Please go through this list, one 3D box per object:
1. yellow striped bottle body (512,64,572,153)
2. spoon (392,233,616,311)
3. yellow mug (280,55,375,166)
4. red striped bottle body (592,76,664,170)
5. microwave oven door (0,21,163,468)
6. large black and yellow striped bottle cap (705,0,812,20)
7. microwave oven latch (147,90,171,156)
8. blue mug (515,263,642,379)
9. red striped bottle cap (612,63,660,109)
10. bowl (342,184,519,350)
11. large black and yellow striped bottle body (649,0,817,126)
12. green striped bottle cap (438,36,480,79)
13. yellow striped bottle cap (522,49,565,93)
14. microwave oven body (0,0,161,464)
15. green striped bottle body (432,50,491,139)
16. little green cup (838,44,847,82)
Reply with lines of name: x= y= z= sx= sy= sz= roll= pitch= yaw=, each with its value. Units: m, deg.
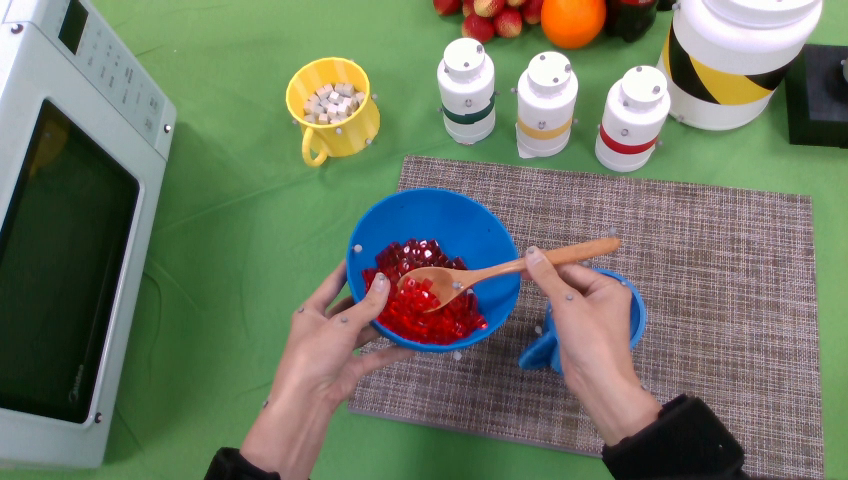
yellow striped bottle body: x=0.128 y=-0.153 z=0.665 sx=0.063 sy=0.121 sz=0.062 roll=-3 pitch=66 yaw=7
spoon: x=0.062 y=0.024 z=0.503 sx=0.193 sy=0.022 sz=0.041 roll=-16 pitch=67 yaw=23
yellow mug: x=-0.120 y=-0.148 z=0.724 sx=0.099 sy=0.064 sz=0.130 roll=17 pitch=71 yaw=13
red striped bottle body: x=0.217 y=-0.131 z=0.646 sx=0.063 sy=0.121 sz=0.062 roll=-4 pitch=65 yaw=8
microwave oven door: x=-0.350 y=0.019 z=0.566 sx=0.039 sy=0.246 sz=0.353 roll=-2 pitch=67 yaw=7
large black and yellow striped bottle cap: x=0.308 y=-0.253 z=0.559 sx=0.115 sy=0.019 sz=0.114 roll=-3 pitch=66 yaw=6
microwave oven latch: x=-0.332 y=-0.143 z=0.742 sx=0.030 sy=0.030 sz=0.078 roll=0 pitch=68 yaw=7
blue mug: x=0.137 y=0.086 z=0.567 sx=0.116 sy=0.107 sz=0.081 roll=-27 pitch=66 yaw=-5
red striped bottle cap: x=0.210 y=-0.153 z=0.598 sx=0.044 sy=0.018 sz=0.044 roll=-1 pitch=66 yaw=3
bowl: x=0.001 y=0.034 z=0.538 sx=0.152 sy=0.077 sz=0.150 roll=5 pitch=62 yaw=-9
large black and yellow striped bottle body: x=0.319 y=-0.221 z=0.637 sx=0.130 sy=0.185 sz=0.130 roll=-3 pitch=67 yaw=6
green striped bottle cap: x=0.036 y=-0.192 z=0.637 sx=0.044 sy=0.020 sz=0.044 roll=-3 pitch=65 yaw=6
yellow striped bottle cap: x=0.122 y=-0.173 z=0.618 sx=0.044 sy=0.019 sz=0.044 roll=-2 pitch=68 yaw=6
microwave oven body: x=-0.494 y=-0.014 z=0.602 sx=0.326 sy=0.262 sz=0.438 roll=-2 pitch=68 yaw=6
green striped bottle body: x=0.043 y=-0.172 z=0.684 sx=0.063 sy=0.120 sz=0.062 roll=-2 pitch=67 yaw=6
little green cup: x=0.467 y=-0.190 z=0.629 sx=0.061 sy=0.039 sz=0.061 roll=-1 pitch=65 yaw=3
